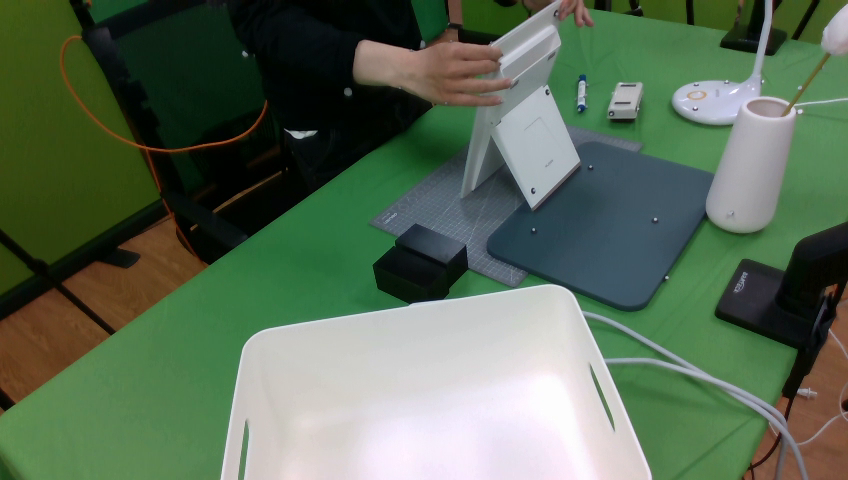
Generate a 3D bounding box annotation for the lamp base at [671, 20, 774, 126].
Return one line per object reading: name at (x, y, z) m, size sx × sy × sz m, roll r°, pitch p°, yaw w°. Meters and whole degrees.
lamp base at (0.581, -0.332, 1.154) m, size 0.179 × 0.181 × 0.160 m, roll 2°, pitch 42°, yaw 7°

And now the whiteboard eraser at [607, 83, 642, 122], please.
whiteboard eraser at (0.406, -0.277, 1.222) m, size 0.055 × 0.042 × 0.112 m, roll 9°, pitch 43°, yaw 22°

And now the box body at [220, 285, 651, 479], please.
box body at (0.005, 0.211, 0.616) m, size 0.364 × 0.161 × 0.252 m, roll -9°, pitch 40°, yaw -2°

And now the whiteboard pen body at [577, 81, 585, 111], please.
whiteboard pen body at (0.335, -0.313, 1.292) m, size 0.017 × 0.017 × 0.140 m, roll 3°, pitch 40°, yaw 12°

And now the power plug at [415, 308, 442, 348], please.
power plug at (0.004, 0.121, 0.786) m, size 0.035 × 0.053 × 0.072 m, roll 1°, pitch 45°, yaw 8°

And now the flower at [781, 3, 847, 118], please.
flower at (0.480, -0.157, 0.824) m, size 0.044 × 0.362 × 0.038 m, roll -9°, pitch 56°, yaw -9°

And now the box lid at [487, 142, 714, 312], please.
box lid at (0.298, -0.041, 0.986) m, size 0.261 × 0.015 × 0.372 m, roll 23°, pitch 49°, yaw 30°

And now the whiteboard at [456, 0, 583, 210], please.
whiteboard at (0.191, -0.194, 0.984) m, size 0.143 × 0.306 × 0.218 m, roll 35°, pitch 54°, yaw 21°

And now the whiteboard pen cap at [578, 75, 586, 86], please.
whiteboard pen cap at (0.349, -0.351, 1.334) m, size 0.018 × 0.018 × 0.033 m, roll 3°, pitch 38°, yaw 12°

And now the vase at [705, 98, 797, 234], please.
vase at (0.480, -0.104, 0.888) m, size 0.098 × 0.201 × 0.097 m, roll -4°, pitch 42°, yaw 4°

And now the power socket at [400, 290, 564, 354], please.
power socket at (0.079, 0.111, 0.823) m, size 0.227 × 0.033 × 0.072 m, roll -6°, pitch 41°, yaw 1°
